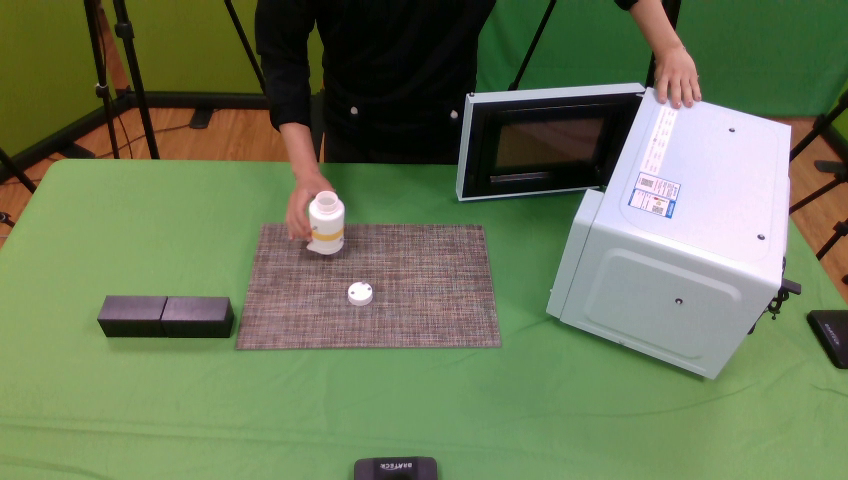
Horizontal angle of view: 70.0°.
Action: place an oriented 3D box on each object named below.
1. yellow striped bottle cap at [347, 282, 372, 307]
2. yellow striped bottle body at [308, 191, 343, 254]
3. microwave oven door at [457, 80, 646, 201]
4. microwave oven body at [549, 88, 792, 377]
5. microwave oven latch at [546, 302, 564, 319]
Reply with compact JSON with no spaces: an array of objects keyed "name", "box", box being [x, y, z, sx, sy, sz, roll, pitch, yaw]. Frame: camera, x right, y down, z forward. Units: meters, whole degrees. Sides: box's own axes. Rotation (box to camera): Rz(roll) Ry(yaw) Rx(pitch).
[{"name":"yellow striped bottle cap","box":[-0.117,0.098,1.093,0.044,0.019,0.044,3,45,-3]},{"name":"yellow striped bottle body","box":[-0.179,-0.034,1.103,0.063,0.121,0.062,4,49,-5]},{"name":"microwave oven door","box":[0.250,-0.199,1.227,0.356,0.245,0.039,-7,46,-9]},{"name":"microwave oven body","box":[0.456,-0.028,1.088,0.325,0.261,0.440,20,47,16]},{"name":"microwave oven latch","box":[0.242,0.102,1.081,0.030,0.029,0.079,21,48,17]}]
